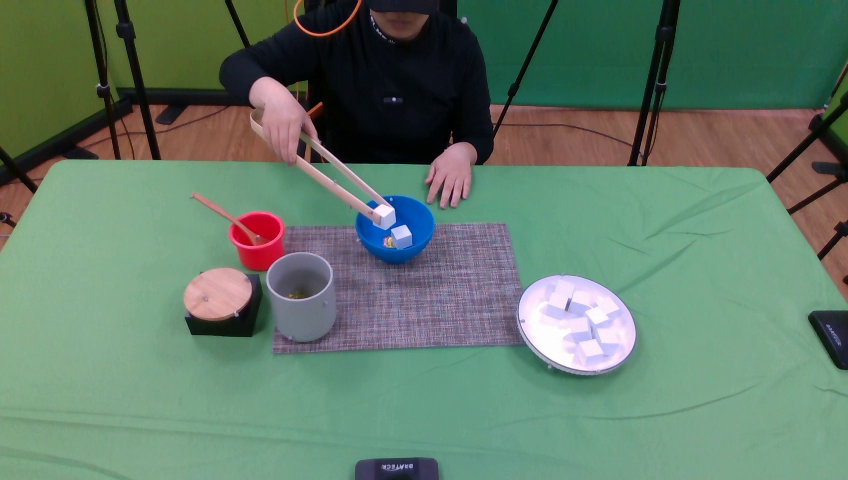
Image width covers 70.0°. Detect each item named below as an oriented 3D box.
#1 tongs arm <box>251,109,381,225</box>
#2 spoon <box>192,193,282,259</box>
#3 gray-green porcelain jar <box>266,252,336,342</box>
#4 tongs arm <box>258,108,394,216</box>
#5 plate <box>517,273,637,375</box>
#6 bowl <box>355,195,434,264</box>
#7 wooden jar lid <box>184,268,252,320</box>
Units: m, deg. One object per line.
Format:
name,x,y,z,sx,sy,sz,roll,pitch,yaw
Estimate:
tongs arm,-0.213,-0.148,1.173,0.383,0.026,0.050,35,53,21
spoon,-0.342,-0.027,1.115,0.194,0.021,0.041,43,40,-25
gray-green porcelain jar,-0.202,0.100,1.009,0.106,0.127,0.105,2,46,-2
tongs arm,-0.196,-0.160,1.187,0.386,0.028,0.028,38,58,23
plate,0.264,0.149,1.060,0.209,0.038,0.208,3,46,-3
bowl,-0.056,-0.008,1.158,0.151,0.077,0.150,2,46,-2
wooden jar lid,-0.343,0.092,1.015,0.108,0.021,0.107,3,46,-3
